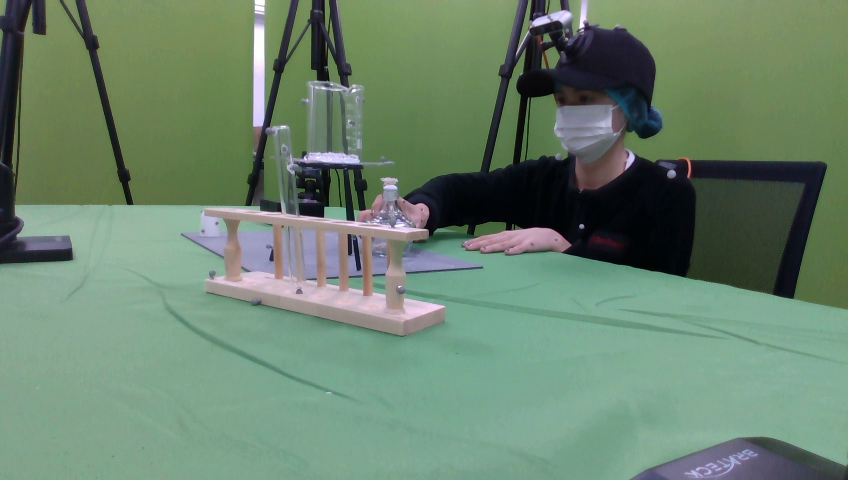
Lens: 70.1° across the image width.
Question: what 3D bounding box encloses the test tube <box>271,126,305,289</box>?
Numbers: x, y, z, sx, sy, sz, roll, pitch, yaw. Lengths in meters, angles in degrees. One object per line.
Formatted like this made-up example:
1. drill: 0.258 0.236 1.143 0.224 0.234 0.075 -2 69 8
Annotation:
1. test tube: -0.124 -0.028 0.554 0.017 0.150 0.017 -5 7 1

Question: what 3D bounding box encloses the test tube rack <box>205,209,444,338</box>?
1. test tube rack: -0.100 0.021 0.565 0.241 0.085 0.067 7 8 32

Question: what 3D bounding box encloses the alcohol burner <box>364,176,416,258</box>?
1. alcohol burner: -0.050 -0.033 0.879 0.078 0.119 0.078 1 9 0

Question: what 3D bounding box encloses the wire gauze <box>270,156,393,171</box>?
1. wire gauze: -0.122 -0.100 0.786 0.122 0.011 0.124 -5 14 -38

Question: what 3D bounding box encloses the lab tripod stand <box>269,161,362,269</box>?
1. lab tripod stand: -0.125 -0.036 0.794 0.148 0.131 0.148 5 7 0

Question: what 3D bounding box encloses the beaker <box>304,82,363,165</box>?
1. beaker: -0.115 -0.148 0.779 0.074 0.100 0.083 -2 10 -30

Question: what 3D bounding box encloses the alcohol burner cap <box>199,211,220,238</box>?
1. alcohol burner cap: -0.356 -0.027 1.002 0.034 0.048 0.034 2 7 0
